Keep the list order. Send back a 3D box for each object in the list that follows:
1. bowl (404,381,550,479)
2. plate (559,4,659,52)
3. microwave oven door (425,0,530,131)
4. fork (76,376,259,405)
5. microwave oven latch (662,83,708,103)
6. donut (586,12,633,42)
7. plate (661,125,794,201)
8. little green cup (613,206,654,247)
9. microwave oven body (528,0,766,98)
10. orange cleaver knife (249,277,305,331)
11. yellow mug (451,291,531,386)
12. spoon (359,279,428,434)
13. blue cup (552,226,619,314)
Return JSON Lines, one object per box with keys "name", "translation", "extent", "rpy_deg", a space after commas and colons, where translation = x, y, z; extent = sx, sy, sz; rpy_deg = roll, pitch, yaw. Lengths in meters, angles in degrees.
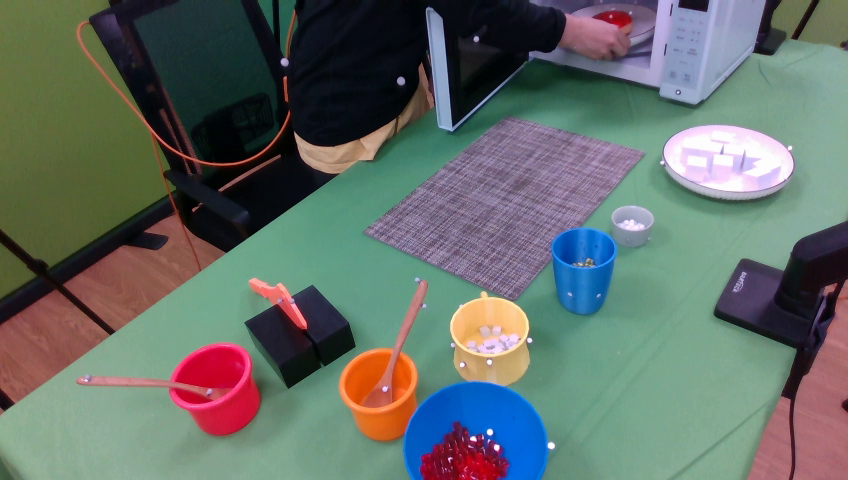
{"name": "bowl", "translation": [0.058, 0.235, 0.645], "extent": [0.151, 0.077, 0.150], "rpy_deg": [-4, 39, 4]}
{"name": "plate", "translation": [0.401, -0.458, 1.319], "extent": [0.209, 0.038, 0.208], "rpy_deg": [-7, 39, 6]}
{"name": "microwave oven door", "translation": [0.124, -0.418, 1.250], "extent": [0.039, 0.245, 0.356], "rpy_deg": [19, 47, 29]}
{"name": "fork", "translation": [-0.295, 0.176, 0.716], "extent": [0.209, 0.018, 0.028], "rpy_deg": [19, 27, -37]}
{"name": "microwave oven latch", "translation": [0.519, -0.297, 1.204], "extent": [0.078, 0.029, 0.030], "rpy_deg": [29, 53, 36]}
{"name": "donut", "translation": [0.402, -0.463, 1.309], "extent": [0.099, 0.048, 0.098], "rpy_deg": [-9, 35, 7]}
{"name": "plate", "translation": [0.513, -0.128, 1.035], "extent": [0.207, 0.039, 0.206], "rpy_deg": [-4, 40, 4]}
{"name": "little green cup", "translation": [0.322, -0.019, 0.936], "extent": [0.061, 0.039, 0.061], "rpy_deg": [-3, 41, 3]}
{"name": "microwave oven body", "translation": [0.472, -0.513, 1.317], "extent": [0.438, 0.261, 0.327], "rpy_deg": [26, 51, 34]}
{"name": "orange cleaver knife", "translation": [-0.210, 0.088, 0.856], "extent": [0.012, 0.077, 0.210], "rpy_deg": [-28, 15, -25]}
{"name": "yellow mug", "translation": [0.085, 0.120, 0.786], "extent": [0.100, 0.064, 0.130], "rpy_deg": [-7, 39, 1]}
{"name": "spoon", "translation": [-0.032, 0.138, 0.719], "extent": [0.041, 0.193, 0.022], "rpy_deg": [22, 4, 30]}
{"name": "blue cup", "translation": [0.218, 0.047, 0.825], "extent": [0.092, 0.101, 0.092], "rpy_deg": [-6, 40, 5]}
